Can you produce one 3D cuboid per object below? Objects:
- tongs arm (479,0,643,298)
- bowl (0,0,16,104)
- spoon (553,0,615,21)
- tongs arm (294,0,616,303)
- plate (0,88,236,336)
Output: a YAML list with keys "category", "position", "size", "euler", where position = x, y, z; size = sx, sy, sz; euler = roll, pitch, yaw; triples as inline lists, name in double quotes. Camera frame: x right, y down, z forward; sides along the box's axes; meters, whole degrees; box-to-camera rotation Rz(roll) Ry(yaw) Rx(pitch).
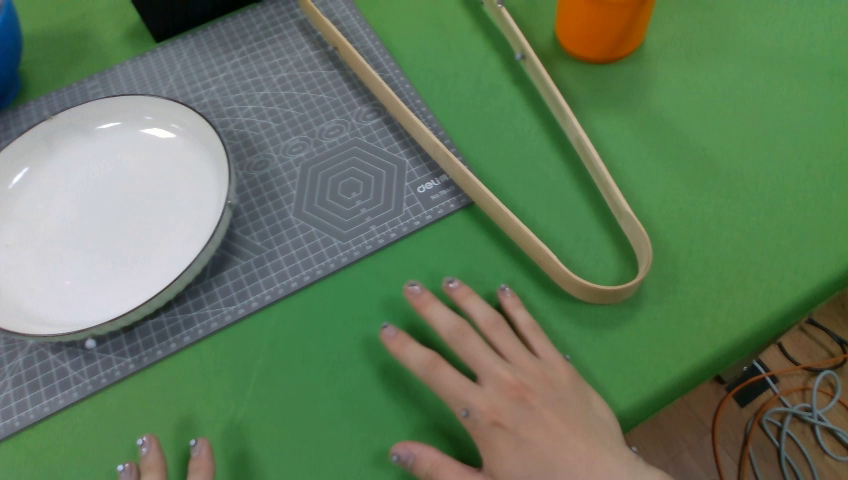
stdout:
- category: "tongs arm"
  position: [0.073, -0.128, 0.488]
  size: [0.051, 0.027, 0.381]
  euler: [-22, 64, -8]
- category: "bowl"
  position: [-0.416, -0.157, 0.523]
  size: [0.151, 0.077, 0.150]
  euler: [-2, 62, 5]
- category: "spoon"
  position: [0.165, -0.195, 0.451]
  size: [0.041, 0.192, 0.022]
  euler: [-48, 112, -16]
- category: "tongs arm"
  position: [0.000, -0.091, 0.476]
  size: [0.028, 0.028, 0.384]
  euler: [-33, 65, -17]
- category: "plate"
  position: [-0.241, -0.023, 0.456]
  size: [0.207, 0.039, 0.206]
  euler: [-2, 62, 4]
